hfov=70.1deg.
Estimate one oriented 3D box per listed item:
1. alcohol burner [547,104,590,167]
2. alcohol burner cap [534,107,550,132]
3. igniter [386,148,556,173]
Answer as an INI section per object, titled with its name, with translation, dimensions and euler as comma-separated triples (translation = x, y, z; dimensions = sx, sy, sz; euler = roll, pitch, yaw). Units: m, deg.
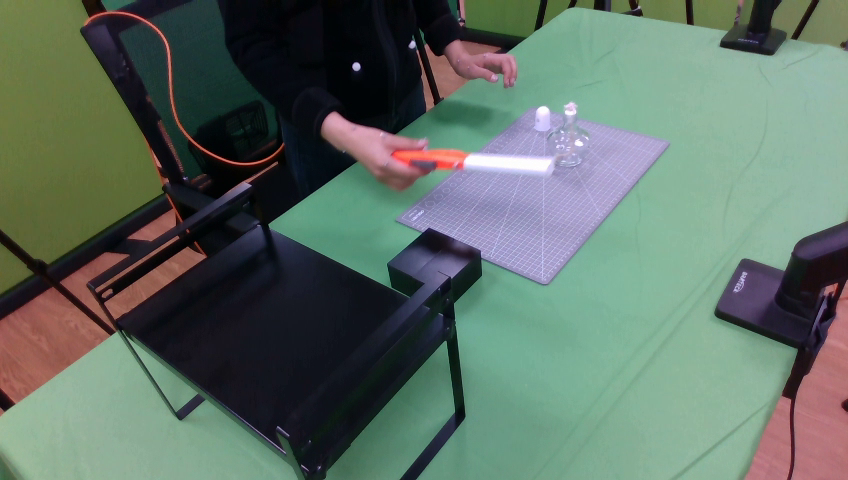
[alcohol burner]
translation = 0.260, -0.192, 1.087
dimensions = 0.078, 0.119, 0.077
euler = -5, 42, 5
[alcohol burner cap]
translation = 0.236, -0.243, 1.206
dimensions = 0.034, 0.048, 0.033
euler = -4, 39, 4
[igniter]
translation = 0.058, -0.119, 0.891
dimensions = 0.274, 0.025, 0.057
euler = 8, 29, 30
